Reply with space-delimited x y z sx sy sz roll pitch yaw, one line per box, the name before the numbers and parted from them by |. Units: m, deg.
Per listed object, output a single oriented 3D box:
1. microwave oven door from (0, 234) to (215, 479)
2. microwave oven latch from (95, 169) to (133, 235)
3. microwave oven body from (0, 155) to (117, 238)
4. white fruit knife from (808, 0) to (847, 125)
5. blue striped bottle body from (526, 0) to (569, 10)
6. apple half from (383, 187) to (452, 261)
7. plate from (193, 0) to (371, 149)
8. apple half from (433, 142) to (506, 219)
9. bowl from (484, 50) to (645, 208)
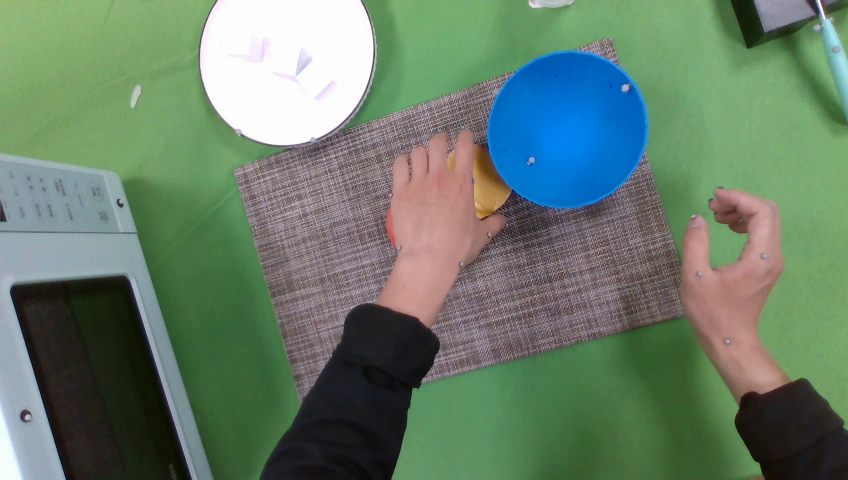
microwave oven door | -0.325 0.166 0.606 0.039 0.244 0.355 -19 87 10
microwave oven latch | -0.372 -0.043 0.713 0.030 0.029 0.079 -18 88 10
microwave oven body | -0.473 0.172 0.638 0.326 0.260 0.441 -19 88 10
white fruit knife | 0.372 -0.200 0.567 0.016 0.027 0.208 -23 104 27
blue striped bottle body | 0.124 -0.278 0.593 0.063 0.121 0.063 0 91 10
apple half | -0.013 -0.010 0.645 0.053 0.074 0.081 -38 88 13
plate | -0.158 -0.205 0.689 0.207 0.039 0.207 0 91 10
apple half | 0.045 -0.064 0.651 0.081 0.032 0.081 0 104 -1
bowl | 0.139 -0.105 0.612 0.151 0.077 0.151 0 91 11
